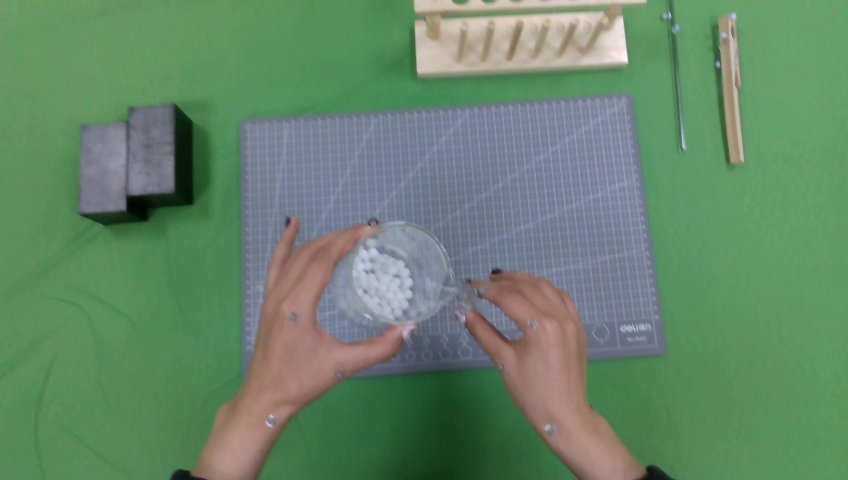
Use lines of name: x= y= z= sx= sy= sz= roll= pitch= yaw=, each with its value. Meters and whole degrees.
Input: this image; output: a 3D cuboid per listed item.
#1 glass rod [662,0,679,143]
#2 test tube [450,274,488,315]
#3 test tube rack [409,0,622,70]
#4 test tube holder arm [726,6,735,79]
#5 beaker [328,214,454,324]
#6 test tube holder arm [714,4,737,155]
glass rod: x=0.285 y=-0.208 z=0.703 sx=0.008 sy=0.008 sz=0.199 roll=0 pitch=80 yaw=0
test tube: x=0.041 y=0.050 z=0.520 sx=0.017 sy=0.151 sz=0.017 roll=-2 pitch=76 yaw=11
test tube rack: x=0.105 y=-0.244 z=0.670 sx=0.242 sy=0.085 sz=0.066 roll=-3 pitch=80 yaw=-1
test tube holder arm: x=0.350 y=-0.227 z=0.701 sx=0.010 sy=0.015 sz=0.087 roll=8 pitch=79 yaw=-28
beaker: x=-0.030 y=0.028 z=0.463 sx=0.084 sy=0.100 sz=0.073 roll=17 pitch=75 yaw=-14
test tube holder arm: x=0.344 y=-0.184 z=0.691 sx=0.013 sy=0.015 sz=0.177 roll=7 pitch=79 yaw=-29
